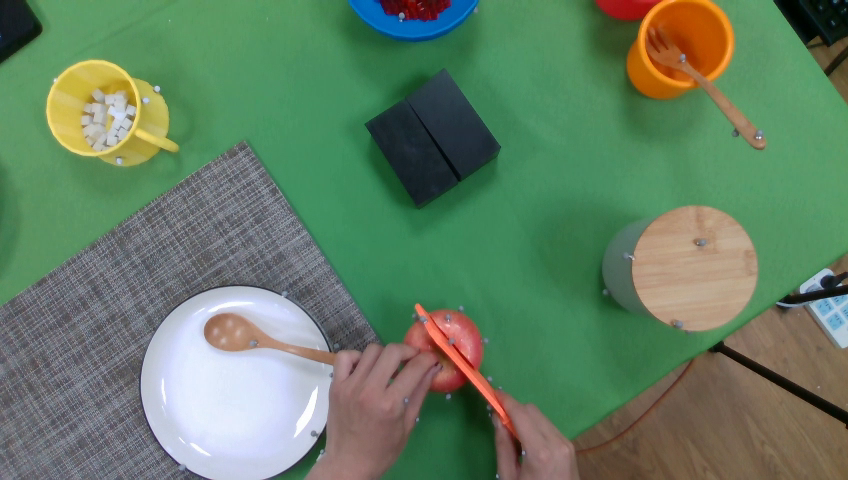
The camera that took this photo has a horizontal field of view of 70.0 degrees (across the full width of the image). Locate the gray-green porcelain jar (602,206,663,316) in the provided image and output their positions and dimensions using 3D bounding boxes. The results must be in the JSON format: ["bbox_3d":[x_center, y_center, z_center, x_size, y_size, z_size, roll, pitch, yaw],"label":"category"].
[{"bbox_3d":[0.236,0.020,0.590,0.106,0.126,0.106,0,89,3],"label":"gray-green porcelain jar"}]

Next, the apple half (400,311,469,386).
[{"bbox_3d":[0.005,0.117,0.627,0.053,0.074,0.081,-40,92,5],"label":"apple half"}]

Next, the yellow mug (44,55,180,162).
[{"bbox_3d":[-0.321,-0.130,0.644,0.131,0.064,0.100,27,90,1],"label":"yellow mug"}]

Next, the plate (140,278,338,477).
[{"bbox_3d":[-0.193,0.144,0.648,0.209,0.038,0.209,0,90,2],"label":"plate"}]

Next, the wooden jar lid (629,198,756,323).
[{"bbox_3d":[0.231,0.018,0.528,0.108,0.020,0.108,0,91,1],"label":"wooden jar lid"}]

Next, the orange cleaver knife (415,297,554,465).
[{"bbox_3d":[0.060,0.140,0.607,0.012,0.077,0.212,-39,104,3],"label":"orange cleaver knife"}]

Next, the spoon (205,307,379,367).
[{"bbox_3d":[-0.140,0.107,0.632,0.193,0.022,0.041,12,79,14],"label":"spoon"}]

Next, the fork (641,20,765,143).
[{"bbox_3d":[0.262,-0.156,0.578,0.028,0.019,0.205,-17,46,1],"label":"fork"}]

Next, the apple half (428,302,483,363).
[{"bbox_3d":[0.038,0.088,0.626,0.033,0.081,0.081,-42,87,-4],"label":"apple half"}]

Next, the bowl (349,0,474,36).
[{"bbox_3d":[-0.010,-0.276,0.625,0.151,0.077,0.151,0,90,3],"label":"bowl"}]
